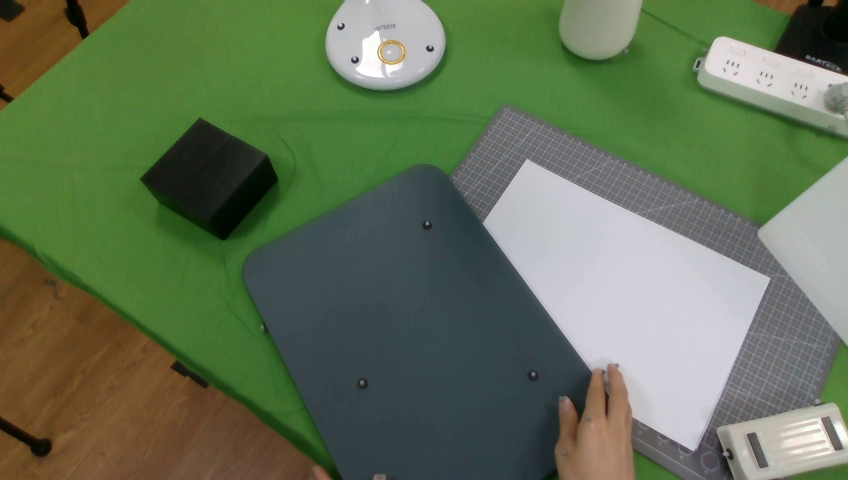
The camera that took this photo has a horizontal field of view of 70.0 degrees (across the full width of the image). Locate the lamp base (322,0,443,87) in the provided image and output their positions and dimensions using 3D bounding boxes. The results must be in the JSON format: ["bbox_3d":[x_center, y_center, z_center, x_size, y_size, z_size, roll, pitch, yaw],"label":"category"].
[{"bbox_3d":[-0.062,-0.312,0.744,0.161,0.182,0.177,-21,62,-9],"label":"lamp base"}]

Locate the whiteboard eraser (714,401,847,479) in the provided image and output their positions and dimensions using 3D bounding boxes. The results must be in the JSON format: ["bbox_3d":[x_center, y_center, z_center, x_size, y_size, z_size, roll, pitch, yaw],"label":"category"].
[{"bbox_3d":[0.333,0.188,0.563,0.113,0.042,0.055,-11,63,-4],"label":"whiteboard eraser"}]

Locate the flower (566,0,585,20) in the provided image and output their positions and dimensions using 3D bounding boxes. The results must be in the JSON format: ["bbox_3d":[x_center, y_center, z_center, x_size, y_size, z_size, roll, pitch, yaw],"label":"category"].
[{"bbox_3d":[0.227,-0.336,0.647,0.044,0.362,0.038,-10,81,-12],"label":"flower"}]

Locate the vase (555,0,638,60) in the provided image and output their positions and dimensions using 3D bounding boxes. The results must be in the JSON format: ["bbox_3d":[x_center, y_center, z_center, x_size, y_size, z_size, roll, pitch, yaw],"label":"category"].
[{"bbox_3d":[0.218,-0.315,0.729,0.098,0.201,0.097,-1,63,2],"label":"vase"}]

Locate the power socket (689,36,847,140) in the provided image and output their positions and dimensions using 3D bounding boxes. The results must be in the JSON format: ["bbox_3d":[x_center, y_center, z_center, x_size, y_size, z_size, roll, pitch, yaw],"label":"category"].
[{"bbox_3d":[0.448,-0.191,0.755,0.226,0.033,0.072,24,68,12],"label":"power socket"}]

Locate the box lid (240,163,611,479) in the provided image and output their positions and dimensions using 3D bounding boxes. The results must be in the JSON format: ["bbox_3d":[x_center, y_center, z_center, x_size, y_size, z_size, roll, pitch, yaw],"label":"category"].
[{"bbox_3d":[-0.011,0.098,0.637,0.263,0.015,0.368,-29,67,-12],"label":"box lid"}]

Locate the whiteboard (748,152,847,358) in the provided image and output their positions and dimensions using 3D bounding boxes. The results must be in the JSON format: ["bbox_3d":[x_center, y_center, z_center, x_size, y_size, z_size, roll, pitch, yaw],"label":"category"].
[{"bbox_3d":[0.514,-0.022,0.553,0.144,0.307,0.215,-14,61,-28],"label":"whiteboard"}]

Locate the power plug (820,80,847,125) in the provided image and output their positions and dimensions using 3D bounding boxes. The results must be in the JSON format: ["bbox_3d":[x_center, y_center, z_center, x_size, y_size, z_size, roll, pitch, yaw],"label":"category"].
[{"bbox_3d":[0.478,-0.157,0.712,0.035,0.053,0.072,35,76,17],"label":"power plug"}]
